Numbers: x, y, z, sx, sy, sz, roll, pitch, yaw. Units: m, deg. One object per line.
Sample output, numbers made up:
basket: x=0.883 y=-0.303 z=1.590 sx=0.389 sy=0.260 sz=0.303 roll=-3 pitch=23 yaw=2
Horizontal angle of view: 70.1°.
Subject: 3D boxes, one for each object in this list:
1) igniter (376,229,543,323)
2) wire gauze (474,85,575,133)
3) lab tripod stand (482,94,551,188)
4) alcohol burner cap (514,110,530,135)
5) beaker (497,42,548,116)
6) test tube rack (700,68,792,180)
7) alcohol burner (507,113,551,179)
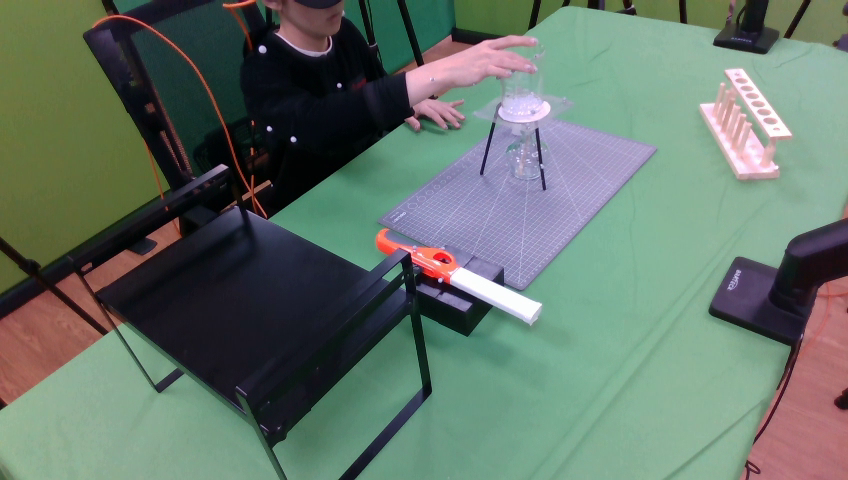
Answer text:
igniter: x=0.038 y=0.044 z=0.843 sx=0.274 sy=0.025 sz=0.057 roll=25 pitch=47 yaw=29
wire gauze: x=0.168 y=-0.220 z=1.015 sx=0.125 sy=0.011 sz=0.120 roll=-38 pitch=45 yaw=-26
lab tripod stand: x=0.172 y=-0.176 z=1.064 sx=0.148 sy=0.132 sz=0.147 roll=-5 pitch=42 yaw=5
alcohol burner cap: x=0.195 y=-0.235 z=1.200 sx=0.034 sy=0.048 sz=0.033 roll=-4 pitch=42 yaw=5
beaker: x=0.160 y=-0.262 z=0.990 sx=0.083 sy=0.101 sz=0.074 roll=16 pitch=46 yaw=28
test tube rack: x=0.572 y=-0.215 z=1.090 sx=0.066 sy=0.085 sz=0.241 roll=-3 pitch=41 yaw=7
alcohol burner: x=0.186 y=-0.169 z=1.069 sx=0.078 sy=0.119 sz=0.077 roll=-5 pitch=39 yaw=4
